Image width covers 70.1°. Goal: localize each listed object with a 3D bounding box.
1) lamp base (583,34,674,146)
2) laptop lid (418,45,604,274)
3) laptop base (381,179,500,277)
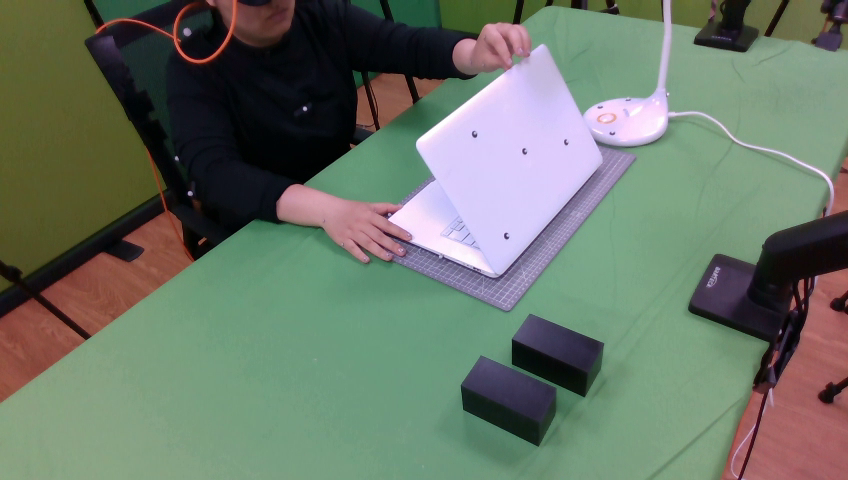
[{"bbox_3d":[0.393,-0.291,1.129,0.180,0.181,0.159,-11,41,-8],"label":"lamp base"},{"bbox_3d":[0.155,-0.139,0.945,0.358,0.242,0.013,-41,18,-35],"label":"laptop lid"},{"bbox_3d":[0.122,-0.077,1.042,0.233,0.023,0.355,20,47,33],"label":"laptop base"}]
